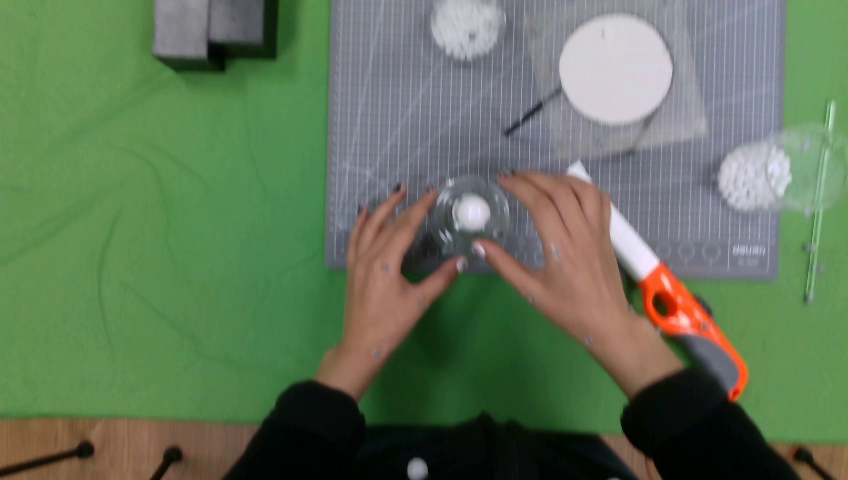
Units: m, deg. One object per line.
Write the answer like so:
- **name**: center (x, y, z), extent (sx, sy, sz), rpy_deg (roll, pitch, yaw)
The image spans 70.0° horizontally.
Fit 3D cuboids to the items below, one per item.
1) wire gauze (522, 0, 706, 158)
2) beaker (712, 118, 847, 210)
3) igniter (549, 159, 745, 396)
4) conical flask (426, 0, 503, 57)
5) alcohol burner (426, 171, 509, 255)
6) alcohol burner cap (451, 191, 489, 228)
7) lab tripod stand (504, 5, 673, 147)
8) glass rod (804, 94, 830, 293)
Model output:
- **wire gauze**: center (0.147, -0.132, 0.466), extent (0.125, 0.011, 0.121), rpy_deg (-11, 91, 0)
- **beaker**: center (0.320, -0.066, 0.553), extent (0.084, 0.100, 0.074), rpy_deg (-36, 91, 0)
- **igniter**: center (0.221, 0.037, 0.592), extent (0.057, 0.025, 0.276), rpy_deg (-40, 92, -16)
- **conical flask**: center (0.039, -0.216, 0.537), extent (0.075, 0.122, 0.075), rpy_deg (0, 90, 0)
- **alcohol burner**: center (0.039, -0.025, 0.545), extent (0.078, 0.119, 0.078), rpy_deg (0, 89, 2)
- **alcohol burner cap**: center (0.040, -0.026, 0.509), extent (0.034, 0.048, 0.034), rpy_deg (0, 95, -1)
- **lab tripod stand**: center (0.146, -0.135, 0.534), extent (0.148, 0.131, 0.148), rpy_deg (0, 92, 1)
- **glass rod**: center (0.391, -0.046, 0.602), extent (0.008, 0.008, 0.199), rpy_deg (5, 91, -1)
